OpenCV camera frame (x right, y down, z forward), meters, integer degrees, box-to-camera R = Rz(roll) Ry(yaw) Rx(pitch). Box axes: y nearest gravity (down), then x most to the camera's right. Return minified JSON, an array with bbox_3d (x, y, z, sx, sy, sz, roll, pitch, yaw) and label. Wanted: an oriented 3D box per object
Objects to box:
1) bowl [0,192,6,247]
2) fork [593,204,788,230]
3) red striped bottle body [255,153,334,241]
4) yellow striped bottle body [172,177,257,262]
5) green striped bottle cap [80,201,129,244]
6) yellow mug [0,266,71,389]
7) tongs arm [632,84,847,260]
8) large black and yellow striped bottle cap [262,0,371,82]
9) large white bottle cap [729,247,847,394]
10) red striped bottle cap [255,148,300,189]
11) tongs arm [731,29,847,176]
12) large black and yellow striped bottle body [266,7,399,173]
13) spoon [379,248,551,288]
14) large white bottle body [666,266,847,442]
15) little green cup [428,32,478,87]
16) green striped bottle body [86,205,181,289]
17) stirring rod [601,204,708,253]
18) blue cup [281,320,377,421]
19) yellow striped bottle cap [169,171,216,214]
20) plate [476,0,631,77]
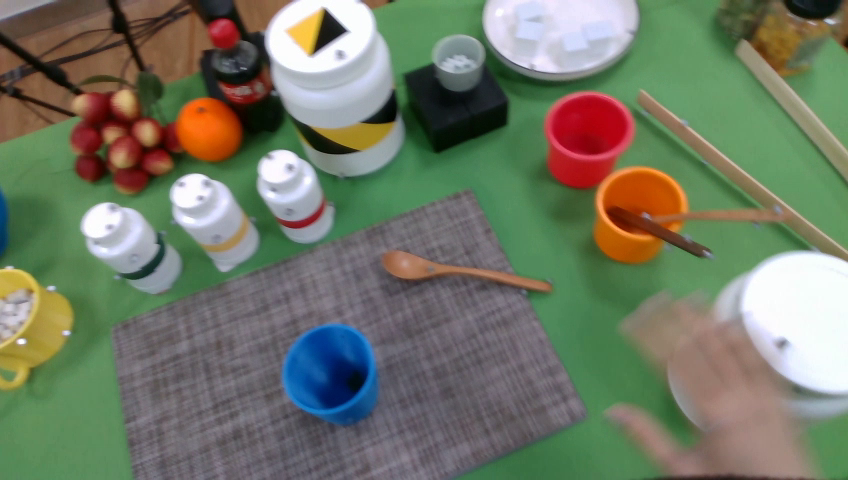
[{"bbox_3d":[-0.573,-0.015,0.736,0.151,0.077,0.150,-2,63,4],"label":"bowl"},{"bbox_3d":[0.261,-0.026,0.620,0.206,0.019,0.028,-3,51,55],"label":"fork"},{"bbox_3d":[-0.149,-0.052,0.691,0.063,0.121,0.062,-4,62,9],"label":"red striped bottle body"},{"bbox_3d":[-0.240,-0.027,0.686,0.063,0.121,0.062,-3,63,6],"label":"yellow striped bottle body"},{"bbox_3d":[-0.334,-0.018,0.632,0.044,0.020,0.044,-2,62,4],"label":"green striped bottle cap"},{"bbox_3d":[-0.461,0.101,0.673,0.100,0.064,0.129,-12,63,-2],"label":"yellow mug"},{"bbox_3d":[0.392,-0.065,0.691,0.051,0.027,0.381,-33,66,-13],"label":"tongs arm"},{"bbox_3d":[-0.113,-0.216,0.639,0.115,0.019,0.114,-3,62,6],"label":"large black and yellow striped bottle cap"},{"bbox_3d":[0.293,0.059,0.458,0.115,0.018,0.114,-2,62,5],"label":"large white bottle cap"},{"bbox_3d":[-0.156,-0.077,0.644,0.044,0.018,0.044,-1,60,2],"label":"red striped bottle cap"},{"bbox_3d":[0.469,-0.107,0.705,0.028,0.028,0.384,-18,64,-10],"label":"tongs arm"},{"bbox_3d":[-0.105,-0.179,0.714,0.131,0.185,0.129,-2,63,5],"label":"large black and yellow striped bottle body"},{"bbox_3d":[0.045,0.034,0.678,0.193,0.022,0.041,7,39,8],"label":"spoon"},{"bbox_3d":[0.302,0.098,0.533,0.130,0.186,0.129,-2,63,5],"label":"large white bottle body"},{"bbox_3d":[0.036,-0.220,0.746,0.061,0.039,0.061,-2,61,4],"label":"little green cup"},{"bbox_3d":[-0.328,0.005,0.679,0.063,0.120,0.062,-2,63,5],"label":"green striped bottle body"},{"bbox_3d":[0.231,-0.015,0.626,0.014,0.006,0.174,-20,20,-7],"label":"stirring rod"},{"bbox_3d":[-0.084,0.137,0.594,0.092,0.101,0.092,-2,62,4],"label":"blue cup"},{"bbox_3d":[-0.245,-0.051,0.640,0.044,0.019,0.044,-2,64,4],"label":"yellow striped bottle cap"},{"bbox_3d":[0.174,-0.300,0.830,0.209,0.038,0.207,-2,64,4],"label":"plate"}]
